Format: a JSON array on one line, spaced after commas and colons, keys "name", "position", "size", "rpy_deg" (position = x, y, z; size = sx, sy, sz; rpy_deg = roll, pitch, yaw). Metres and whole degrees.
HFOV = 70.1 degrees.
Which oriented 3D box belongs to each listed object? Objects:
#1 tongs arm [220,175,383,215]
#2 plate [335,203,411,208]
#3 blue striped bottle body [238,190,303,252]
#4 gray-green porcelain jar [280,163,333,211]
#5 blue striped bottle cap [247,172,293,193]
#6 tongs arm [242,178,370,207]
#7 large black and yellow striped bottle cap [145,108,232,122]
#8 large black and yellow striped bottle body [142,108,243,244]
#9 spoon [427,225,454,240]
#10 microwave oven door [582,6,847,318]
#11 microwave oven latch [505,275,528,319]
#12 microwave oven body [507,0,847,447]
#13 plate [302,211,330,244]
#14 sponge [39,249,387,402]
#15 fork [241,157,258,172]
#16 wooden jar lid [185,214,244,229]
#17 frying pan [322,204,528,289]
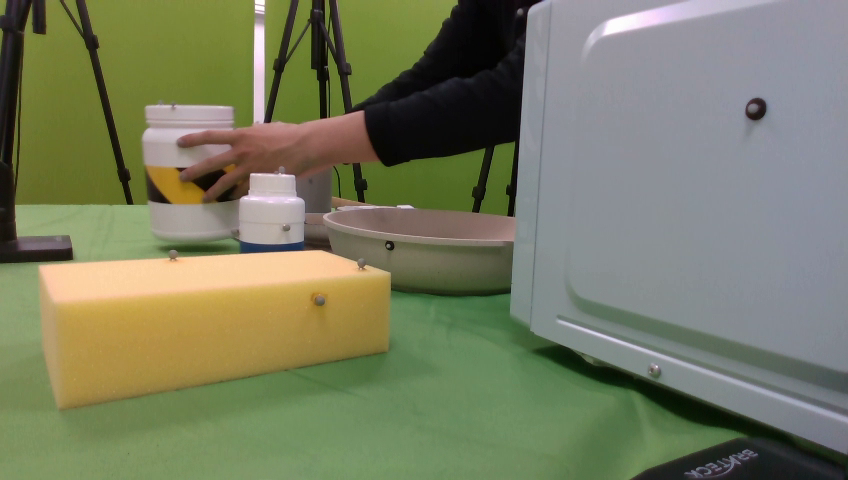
[{"name": "tongs arm", "position": [-0.285, -0.105, 1.445], "size": [0.389, 0.027, 0.028], "rpy_deg": [10, -3, -23]}, {"name": "plate", "position": [-0.089, -0.053, 1.309], "size": [0.208, 0.039, 0.207], "rpy_deg": [2, 8, 0]}, {"name": "blue striped bottle body", "position": [-0.153, -0.007, 0.606], "size": [0.063, 0.120, 0.063], "rpy_deg": [2, 7, 0]}, {"name": "gray-green porcelain jar", "position": [-0.238, -0.092, 1.221], "size": [0.106, 0.126, 0.106], "rpy_deg": [2, 7, 0]}, {"name": "blue striped bottle cap", "position": [-0.152, -0.057, 0.598], "size": [0.044, 0.020, 0.044], "rpy_deg": [3, 7, 0]}, {"name": "tongs arm", "position": [-0.241, -0.095, 1.374], "size": [0.387, 0.026, 0.050], "rpy_deg": [9, 0, -37]}, {"name": "large black and yellow striped bottle cap", "position": [-0.332, -0.178, 0.855], "size": [0.115, 0.019, 0.115], "rpy_deg": [1, 13, 0]}, {"name": "large black and yellow striped bottle body", "position": [-0.331, -0.096, 0.874], "size": [0.131, 0.184, 0.130], "rpy_deg": [0, 13, 0]}, {"name": "spoon", "position": [0.024, -0.019, 1.124], "size": [0.042, 0.021, 0.193], "rpy_deg": [-17, 10, -4]}, {"name": "microwave oven door", "position": [0.295, -0.067, 0.569], "size": [0.358, 0.243, 0.039], "rpy_deg": [-3, 8, -31]}, {"name": "microwave oven latch", "position": [0.100, 0.041, 0.471], "size": [0.079, 0.029, 0.030], "rpy_deg": [-1, 7, -28]}, {"name": "microwave oven body", "position": [0.331, -0.042, 0.425], "size": [0.444, 0.260, 0.324], "rpy_deg": [-2, 8, -31]}, {"name": "plate", "position": [-0.138, -0.022, 1.020], "size": [0.209, 0.038, 0.209], "rpy_deg": [3, 8, 0]}, {"name": "sponge", "position": [-0.142, 0.047, 0.420], "size": [0.208, 0.061, 0.117], "rpy_deg": [-3, 8, -36]}, {"name": "fork", "position": [-0.396, -0.143, 1.486], "size": [0.028, 0.018, 0.208], "rpy_deg": [19, -26, 44]}, {"name": "wooden jar lid", "position": [-0.404, -0.037, 1.169], "size": [0.108, 0.020, 0.108], "rpy_deg": [3, 7, 0]}, {"name": "frying pan", "position": [0.110, -0.018, 0.800], "size": [0.490, 0.102, 0.305], "rpy_deg": [-12, 16, -30]}]
